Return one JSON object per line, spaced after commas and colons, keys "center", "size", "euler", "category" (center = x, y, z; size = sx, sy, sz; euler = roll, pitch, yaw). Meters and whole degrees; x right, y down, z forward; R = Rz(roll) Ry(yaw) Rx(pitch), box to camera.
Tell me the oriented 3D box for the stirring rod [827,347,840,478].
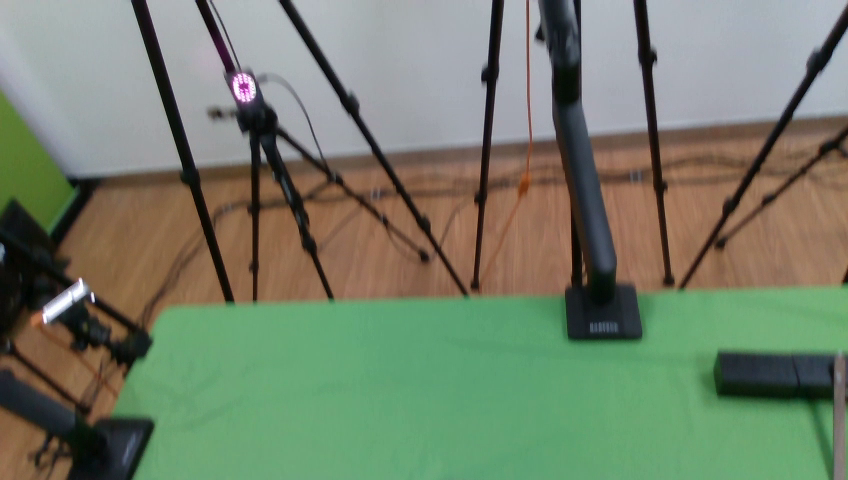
{"center": [0.561, 0.233, 0.828], "size": [0.014, 0.006, 0.175], "euler": [9, 71, 13], "category": "stirring rod"}
